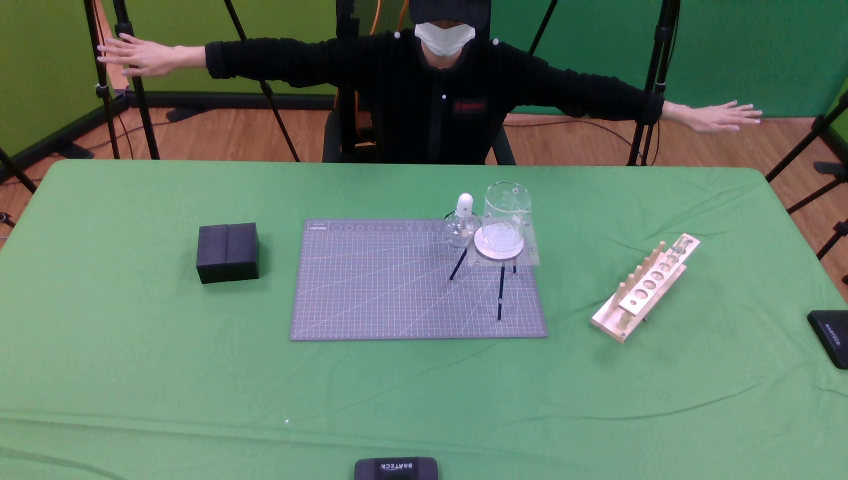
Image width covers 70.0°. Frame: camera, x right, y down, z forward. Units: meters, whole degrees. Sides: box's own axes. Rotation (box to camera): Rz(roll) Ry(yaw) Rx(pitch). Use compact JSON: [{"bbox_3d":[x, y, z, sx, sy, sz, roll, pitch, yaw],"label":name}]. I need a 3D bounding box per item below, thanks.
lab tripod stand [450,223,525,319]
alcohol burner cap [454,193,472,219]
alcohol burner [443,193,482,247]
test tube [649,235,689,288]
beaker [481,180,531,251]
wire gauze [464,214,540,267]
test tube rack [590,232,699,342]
[{"bbox_3d":[0.120,0.046,1.080,0.148,0.132,0.147,1,47,-1],"label":"lab tripod stand"},{"bbox_3d":[0.076,-0.068,1.151,0.034,0.048,0.033,4,46,-4],"label":"alcohol burner cap"},{"bbox_3d":[0.075,-0.044,1.177,0.078,0.120,0.077,1,44,-1],"label":"alcohol burner"},{"bbox_3d":[0.432,0.043,1.073,0.017,0.151,0.017,3,51,-3],"label":"test tube"},{"bbox_3d":[0.135,-0.036,1.001,0.083,0.101,0.074,30,53,24],"label":"beaker"},{"bbox_3d":[0.131,-0.001,1.035,0.121,0.011,0.124,1,44,-3],"label":"wire gauze"},{"bbox_3d":[0.407,0.074,1.112,0.066,0.085,0.242,35,53,26],"label":"test tube rack"}]
